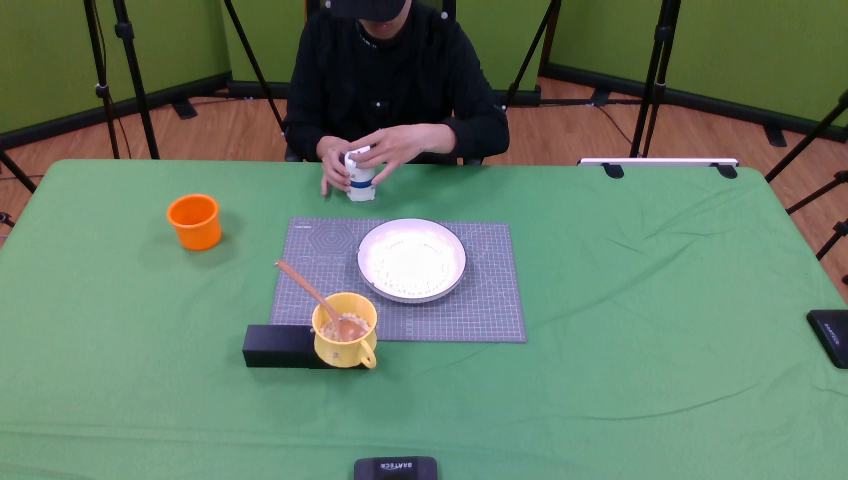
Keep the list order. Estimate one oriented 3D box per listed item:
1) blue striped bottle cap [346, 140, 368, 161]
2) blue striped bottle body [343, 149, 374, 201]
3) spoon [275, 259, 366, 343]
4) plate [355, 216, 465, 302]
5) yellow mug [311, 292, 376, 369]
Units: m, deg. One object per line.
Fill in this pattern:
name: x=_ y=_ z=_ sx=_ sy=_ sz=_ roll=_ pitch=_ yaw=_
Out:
blue striped bottle cap: x=-0.134 y=-0.180 z=1.221 sx=0.044 sy=0.021 sz=0.044 roll=5 pitch=48 yaw=-5
blue striped bottle body: x=-0.135 y=-0.145 z=1.257 sx=0.063 sy=0.121 sz=0.062 roll=3 pitch=46 yaw=-3
spoon: x=-0.161 y=0.098 z=0.946 sx=0.194 sy=0.021 sz=0.041 roll=48 pitch=56 yaw=-5
plate: x=-0.027 y=0.039 z=1.144 sx=0.208 sy=0.039 sz=0.206 roll=2 pitch=46 yaw=-2
yellow mug: x=-0.115 y=0.149 z=0.945 sx=0.100 sy=0.064 sz=0.130 roll=-30 pitch=57 yaw=-28
